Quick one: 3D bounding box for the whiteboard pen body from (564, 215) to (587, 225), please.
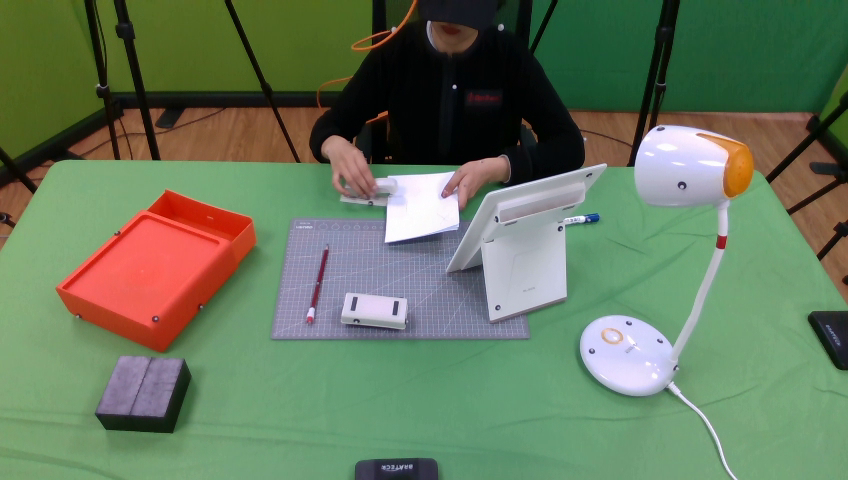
[{"bbox_3d":[0.291,-0.040,1.261,0.141,0.017,0.017,-6,47,-11],"label":"whiteboard pen body"}]

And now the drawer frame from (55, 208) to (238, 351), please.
[{"bbox_3d":[-0.474,0.062,1.059,0.201,0.083,0.213,19,48,13],"label":"drawer frame"}]

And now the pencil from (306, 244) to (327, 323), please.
[{"bbox_3d":[-0.196,0.076,1.115,0.012,0.012,0.193,4,44,0],"label":"pencil"}]

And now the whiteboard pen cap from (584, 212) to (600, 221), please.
[{"bbox_3d":[0.351,-0.048,1.271,0.033,0.018,0.018,-6,47,-11],"label":"whiteboard pen cap"}]

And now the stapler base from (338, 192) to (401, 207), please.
[{"bbox_3d":[-0.115,-0.096,1.281,0.130,0.024,0.041,5,43,4],"label":"stapler base"}]

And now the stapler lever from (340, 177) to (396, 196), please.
[{"bbox_3d":[-0.116,-0.113,1.263,0.118,0.040,0.026,5,43,3],"label":"stapler lever"}]

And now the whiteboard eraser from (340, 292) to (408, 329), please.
[{"bbox_3d":[-0.087,0.125,1.052,0.113,0.042,0.055,5,45,1],"label":"whiteboard eraser"}]

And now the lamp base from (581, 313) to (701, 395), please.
[{"bbox_3d":[0.361,0.144,0.973,0.178,0.181,0.160,34,53,23],"label":"lamp base"}]

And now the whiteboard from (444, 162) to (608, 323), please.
[{"bbox_3d":[0.186,0.026,1.028,0.217,0.306,0.143,-14,68,-17],"label":"whiteboard"}]

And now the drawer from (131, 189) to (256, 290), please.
[{"bbox_3d":[-0.449,0.018,1.105,0.194,0.073,0.211,19,48,12],"label":"drawer"}]

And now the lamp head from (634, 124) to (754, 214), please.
[{"bbox_3d":[0.351,-0.089,0.776,0.112,0.113,0.122,-30,30,-28],"label":"lamp head"}]
